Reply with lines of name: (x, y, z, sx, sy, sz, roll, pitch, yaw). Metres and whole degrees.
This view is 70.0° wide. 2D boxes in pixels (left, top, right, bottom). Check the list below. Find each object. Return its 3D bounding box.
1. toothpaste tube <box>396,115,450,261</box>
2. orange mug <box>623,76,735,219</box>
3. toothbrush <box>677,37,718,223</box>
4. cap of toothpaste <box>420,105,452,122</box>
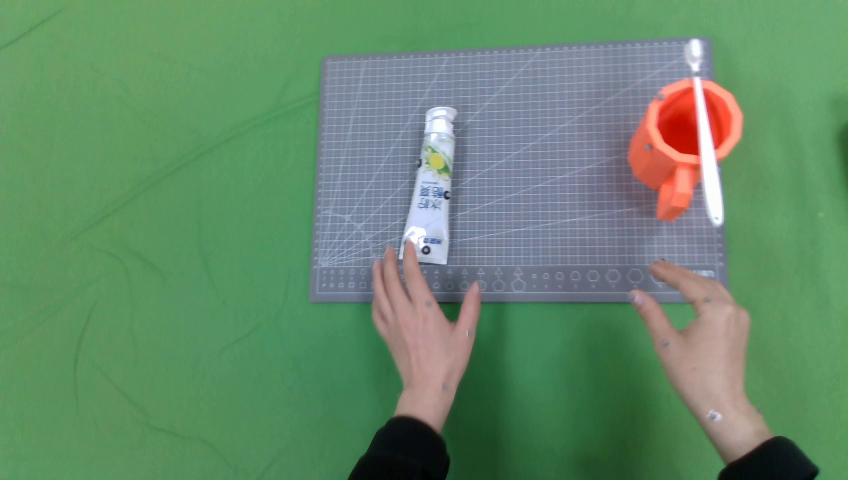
toothpaste tube: (0.003, -0.060, 0.677, 0.055, 0.035, 0.164, 5, 84, 14)
orange mug: (0.253, -0.088, 0.613, 0.083, 0.101, 0.125, 8, 76, 9)
toothbrush: (0.255, -0.105, 0.562, 0.014, 0.017, 0.181, -4, 79, 3)
cap of toothpaste: (0.014, -0.141, 0.685, 0.037, 0.037, 0.011, -6, 76, 6)
